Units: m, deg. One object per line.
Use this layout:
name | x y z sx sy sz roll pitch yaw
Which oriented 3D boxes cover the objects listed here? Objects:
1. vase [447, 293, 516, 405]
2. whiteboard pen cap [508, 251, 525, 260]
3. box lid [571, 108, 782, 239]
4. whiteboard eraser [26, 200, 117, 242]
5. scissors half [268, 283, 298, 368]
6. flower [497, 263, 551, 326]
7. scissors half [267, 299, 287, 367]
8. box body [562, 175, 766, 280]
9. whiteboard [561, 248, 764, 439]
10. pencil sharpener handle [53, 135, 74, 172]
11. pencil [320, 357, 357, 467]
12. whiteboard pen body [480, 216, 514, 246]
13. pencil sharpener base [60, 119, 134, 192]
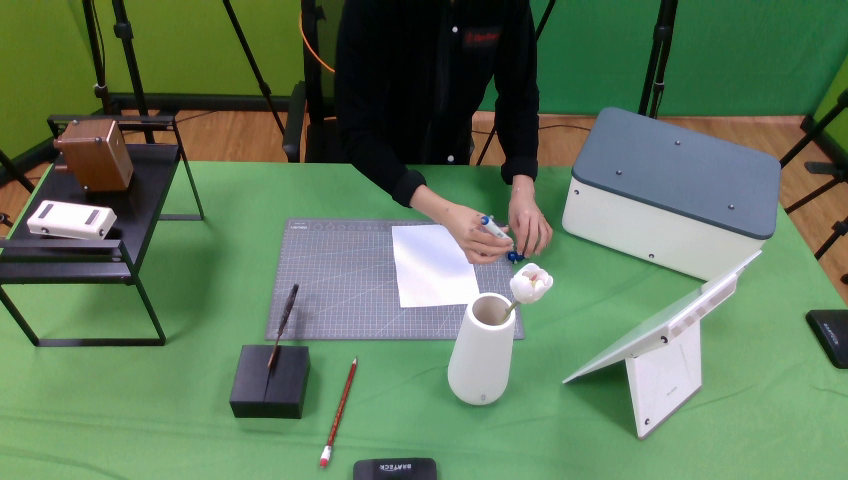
vase | 0.091 0.169 0.921 0.098 0.201 0.097 3 47 -3
whiteboard pen cap | 0.180 0.030 1.187 0.033 0.018 0.018 1 44 -26
box lid | 0.491 -0.139 1.168 0.370 0.015 0.262 21 49 15
whiteboard eraser | -0.532 -0.026 0.919 0.113 0.042 0.055 7 45 3
scissors half | -0.230 0.135 0.986 0.013 0.040 0.174 19 43 -11
flower | 0.102 0.121 0.853 0.044 0.363 0.038 -1 64 -9
scissors half | -0.239 0.150 0.997 0.013 0.040 0.174 23 24 -13
box body | 0.486 -0.088 1.222 0.363 0.161 0.253 20 48 15
whiteboard | 0.386 0.176 0.905 0.217 0.306 0.143 -26 72 -27
pencil sharpener handle | -0.578 -0.138 0.961 0.031 0.068 0.036 -4 34 -7
pencil | -0.130 0.261 0.947 0.012 0.012 0.193 10 45 5
whiteboard pen body | 0.129 -0.012 1.039 0.017 0.141 0.017 -10 67 26
pencil sharpener base | -0.528 -0.135 0.979 0.077 0.107 0.061 -4 47 -7
